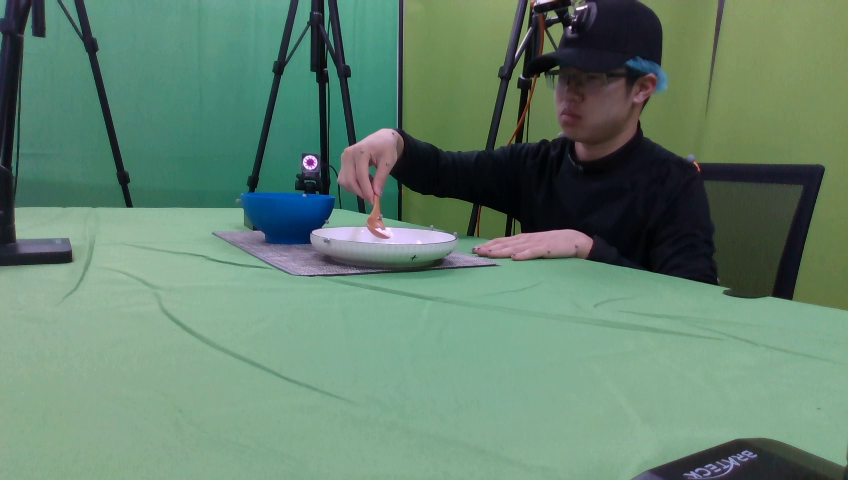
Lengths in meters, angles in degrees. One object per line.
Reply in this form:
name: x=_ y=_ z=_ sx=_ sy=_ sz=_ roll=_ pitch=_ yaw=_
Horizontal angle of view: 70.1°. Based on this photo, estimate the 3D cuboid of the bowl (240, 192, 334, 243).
bowl: x=-0.223 y=-0.037 z=0.992 sx=0.151 sy=0.077 sz=0.151 roll=2 pitch=7 yaw=0

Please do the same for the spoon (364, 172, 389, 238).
spoon: x=-0.076 y=-0.058 z=0.933 sx=0.042 sy=0.021 sz=0.193 roll=26 pitch=29 yaw=-24

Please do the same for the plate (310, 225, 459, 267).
plate: x=-0.055 y=0.008 z=0.851 sx=0.208 sy=0.039 sz=0.207 roll=2 pitch=7 yaw=0
